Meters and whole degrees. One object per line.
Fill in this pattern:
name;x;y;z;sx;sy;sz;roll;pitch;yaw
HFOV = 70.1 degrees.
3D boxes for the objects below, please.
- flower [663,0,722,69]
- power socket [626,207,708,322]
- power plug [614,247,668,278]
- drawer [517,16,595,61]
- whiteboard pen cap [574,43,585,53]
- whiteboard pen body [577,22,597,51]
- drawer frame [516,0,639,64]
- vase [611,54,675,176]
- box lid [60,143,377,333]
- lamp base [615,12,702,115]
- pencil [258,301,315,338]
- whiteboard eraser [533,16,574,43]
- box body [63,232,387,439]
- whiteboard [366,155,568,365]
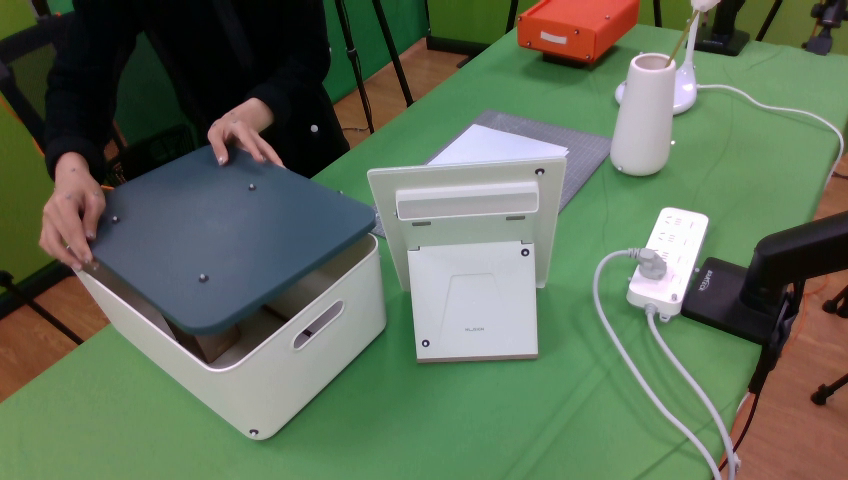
flower;0.379;-0.261;0.965;0.044;0.362;0.038;21;53;5
power socket;0.359;0.025;0.886;0.072;0.033;0.227;16;46;26
power plug;0.306;0.031;0.851;0.072;0.053;0.035;24;49;33
drawer;0.353;-0.505;1.404;0.193;0.073;0.212;25;50;33
whiteboard pen cap;0.346;-0.430;1.350;0.018;0.018;0.033;16;39;25
whiteboard pen body;0.373;-0.468;1.390;0.017;0.017;0.141;14;47;23
drawer frame;0.356;-0.507;1.410;0.200;0.083;0.214;25;51;32
vase;0.377;-0.209;1.031;0.098;0.201;0.097;-3;40;3
box lid;-0.266;-0.026;0.768;0.368;0.015;0.264;24;46;35
lamp base;0.484;-0.363;1.211;0.180;0.181;0.159;-15;41;-14
pencil;-0.205;0.112;0.874;0.192;0.012;0.012;23;48;36
whiteboard eraser;0.305;-0.493;1.422;0.055;0.042;0.113;27;43;25
box body;-0.257;0.068;0.824;0.361;0.161;0.255;24;49;31
whiteboard;0.059;0.049;0.738;0.217;0.307;0.143;-3;60;5
